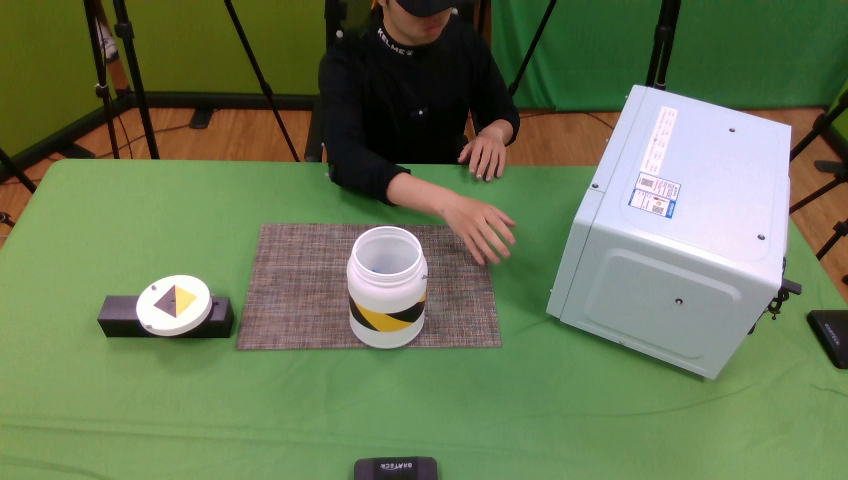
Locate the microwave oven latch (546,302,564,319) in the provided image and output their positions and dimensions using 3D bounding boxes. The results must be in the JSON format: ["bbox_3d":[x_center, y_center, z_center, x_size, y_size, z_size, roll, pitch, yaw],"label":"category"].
[{"bbox_3d":[0.242,0.102,1.081,0.030,0.029,0.079,21,48,17],"label":"microwave oven latch"}]

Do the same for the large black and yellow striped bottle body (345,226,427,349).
[{"bbox_3d":[-0.062,0.078,0.998,0.131,0.185,0.130,2,46,-2],"label":"large black and yellow striped bottle body"}]

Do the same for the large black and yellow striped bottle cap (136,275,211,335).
[{"bbox_3d":[-0.412,0.105,0.998,0.115,0.019,0.114,3,47,-3],"label":"large black and yellow striped bottle cap"}]

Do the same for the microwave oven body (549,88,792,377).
[{"bbox_3d":[0.456,-0.028,1.088,0.325,0.261,0.440,20,47,16],"label":"microwave oven body"}]

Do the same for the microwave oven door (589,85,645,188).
[{"bbox_3d":[0.341,-0.107,1.149,0.039,0.245,0.354,20,48,15],"label":"microwave oven door"}]
